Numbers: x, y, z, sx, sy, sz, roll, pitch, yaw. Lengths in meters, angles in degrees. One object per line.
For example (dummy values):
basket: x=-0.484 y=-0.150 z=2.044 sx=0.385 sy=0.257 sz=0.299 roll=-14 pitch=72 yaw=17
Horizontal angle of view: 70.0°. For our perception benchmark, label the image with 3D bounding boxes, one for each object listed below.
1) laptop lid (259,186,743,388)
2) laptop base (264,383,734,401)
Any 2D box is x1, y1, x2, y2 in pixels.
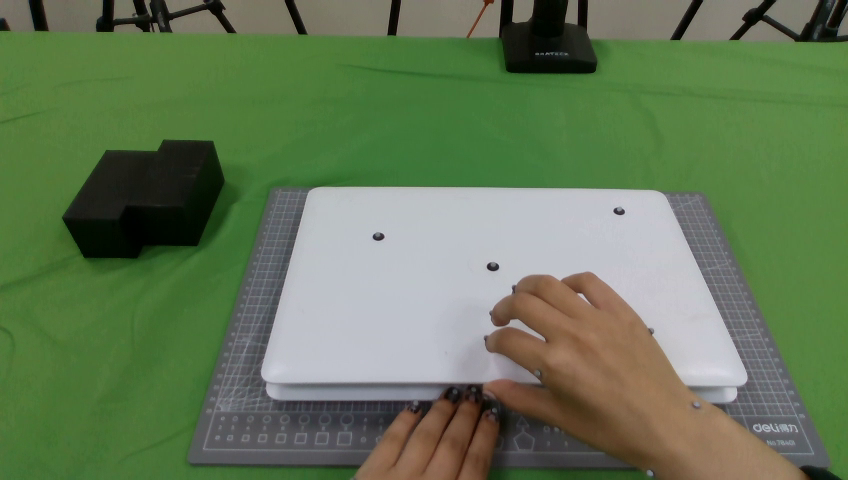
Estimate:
laptop lid: x=0.057 y=0.026 z=0.514 sx=0.357 sy=0.013 sz=0.239 roll=1 pitch=42 yaw=1
laptop base: x=0.057 y=0.039 z=0.530 sx=0.354 sy=0.023 sz=0.233 roll=0 pitch=48 yaw=0
